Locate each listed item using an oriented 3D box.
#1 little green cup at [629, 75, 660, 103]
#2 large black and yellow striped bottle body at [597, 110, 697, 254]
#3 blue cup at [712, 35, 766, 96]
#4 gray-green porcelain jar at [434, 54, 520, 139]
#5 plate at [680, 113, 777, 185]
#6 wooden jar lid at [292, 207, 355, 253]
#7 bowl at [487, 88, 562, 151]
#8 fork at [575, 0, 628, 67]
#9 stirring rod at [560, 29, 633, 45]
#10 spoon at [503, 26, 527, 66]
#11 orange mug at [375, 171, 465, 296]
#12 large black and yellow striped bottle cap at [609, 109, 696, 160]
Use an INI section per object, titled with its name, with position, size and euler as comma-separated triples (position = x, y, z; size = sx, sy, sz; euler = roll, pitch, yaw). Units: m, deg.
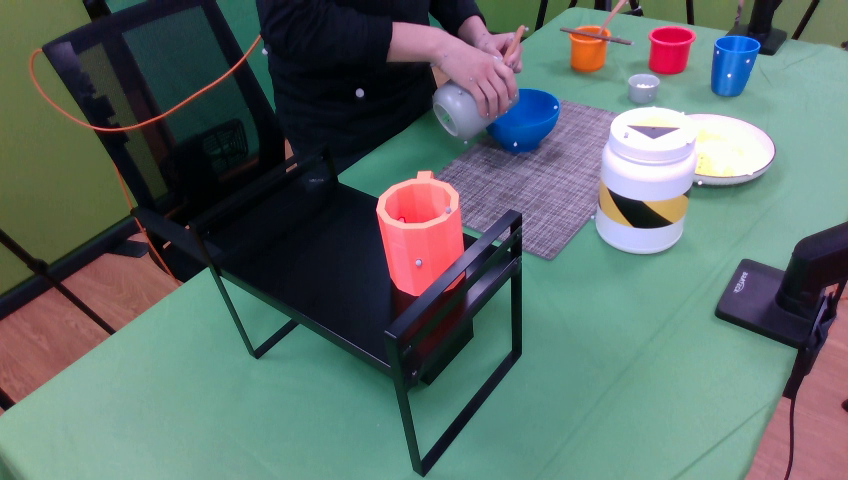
[little green cup]
position = 0.458, -0.314, 1.260
size = 0.061, 0.039, 0.061
euler = -4, 40, 4
[large black and yellow striped bottle body]
position = 0.331, -0.086, 0.904
size = 0.131, 0.185, 0.130
euler = -5, 41, 4
[blue cup]
position = 0.627, -0.350, 1.227
size = 0.092, 0.100, 0.092
euler = -4, 39, 4
[gray-green porcelain jar]
position = 0.089, -0.250, 1.071
size = 0.126, 0.106, 0.105
euler = -37, 47, -10
[plate]
position = 0.506, -0.158, 1.073
size = 0.209, 0.038, 0.208
euler = -5, 40, 4
[wooden jar lid]
position = -0.169, -0.015, 1.026
size = 0.108, 0.021, 0.108
euler = -4, 40, 4
[bowl]
position = 0.187, -0.223, 1.161
size = 0.151, 0.077, 0.150
euler = -4, 40, 4
[fork]
position = 0.413, -0.481, 1.377
size = 0.207, 0.019, 0.028
euler = -56, 43, 12
[stirring rod]
position = 0.381, -0.452, 1.345
size = 0.174, 0.006, 0.014
euler = 26, 49, 33
[spoon]
position = 0.133, -0.301, 1.094
size = 0.041, 0.022, 0.193
euler = 30, 88, 33
[orange mug]
position = 0.000, -0.016, 0.661
size = 0.083, 0.101, 0.125
euler = -2, 45, 8
[large black and yellow striped bottle cap]
position = 0.319, -0.150, 0.849
size = 0.115, 0.019, 0.114
euler = -4, 39, 3
